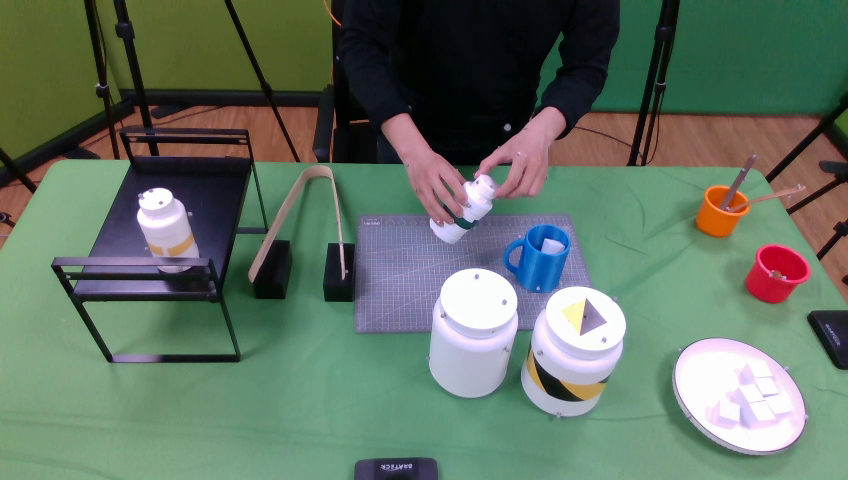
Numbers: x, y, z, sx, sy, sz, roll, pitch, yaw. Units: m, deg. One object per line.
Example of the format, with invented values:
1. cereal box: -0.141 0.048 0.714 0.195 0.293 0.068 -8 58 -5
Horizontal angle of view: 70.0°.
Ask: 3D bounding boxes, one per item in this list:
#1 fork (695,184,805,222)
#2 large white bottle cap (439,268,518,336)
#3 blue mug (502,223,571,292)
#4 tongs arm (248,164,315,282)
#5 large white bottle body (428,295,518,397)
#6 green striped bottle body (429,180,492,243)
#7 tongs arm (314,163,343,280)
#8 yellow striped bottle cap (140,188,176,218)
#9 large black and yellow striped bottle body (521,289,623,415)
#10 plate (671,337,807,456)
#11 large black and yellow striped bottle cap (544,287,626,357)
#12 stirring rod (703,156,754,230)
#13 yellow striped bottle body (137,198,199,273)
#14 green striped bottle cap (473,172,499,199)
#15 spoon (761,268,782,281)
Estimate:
1. fork: 0.657 -0.075 1.230 0.207 0.019 0.028 -23 34 37
2. large white bottle cap: 0.080 0.089 0.888 0.115 0.018 0.114 2 47 -2
3. blue mug: 0.202 0.031 1.121 0.116 0.106 0.082 5 46 1
4. tongs arm: -0.269 -0.047 1.166 0.028 0.028 0.385 -1 34 7
5. large white bottle body: 0.075 0.147 0.950 0.131 0.185 0.130 2 47 -2
6. green striped bottle body: 0.068 -0.054 1.020 0.063 0.119 0.063 32 32 -23
7. tongs arm: -0.188 -0.049 1.170 0.051 0.026 0.382 -6 35 -6
8. yellow striped bottle cap: -0.363 -0.051 0.826 0.044 0.019 0.044 0 47 0
9. large black and yellow striped bottle body: 0.228 0.173 0.937 0.131 0.185 0.130 2 47 -2
10. plate: 0.503 0.254 0.984 0.208 0.039 0.206 2 46 -2
11. large black and yellow striped bottle cap: 0.232 0.116 0.876 0.115 0.019 0.114 1 45 -1
12. stirring rod: 0.631 -0.098 1.258 0.014 0.006 0.176 33 95 29
13. yellow striped bottle body: -0.366 -0.014 0.864 0.063 0.121 0.062 2 46 -2
14. green striped bottle cap: 0.102 -0.090 0.993 0.044 0.020 0.044 30 33 -21
15. spoon: 0.638 0.060 1.105 0.041 0.021 0.194 38 11 24
